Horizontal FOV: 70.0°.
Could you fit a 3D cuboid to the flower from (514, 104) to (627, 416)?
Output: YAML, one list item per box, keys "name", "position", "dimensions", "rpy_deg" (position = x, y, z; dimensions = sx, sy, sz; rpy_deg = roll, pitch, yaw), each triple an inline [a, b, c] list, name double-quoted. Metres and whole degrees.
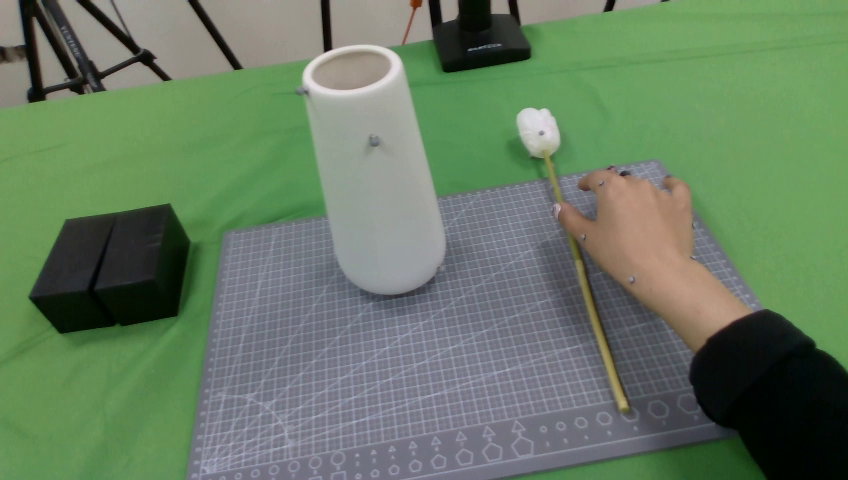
- name: "flower"
  position: [0.132, -0.008, 0.555]
  dimensions: [0.044, 0.038, 0.358]
  rpy_deg: [19, 44, -26]

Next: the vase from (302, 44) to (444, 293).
- name: "vase"
  position: [-0.040, -0.049, 0.485]
  dimensions: [0.098, 0.202, 0.097]
  rpy_deg: [-5, 44, 5]
